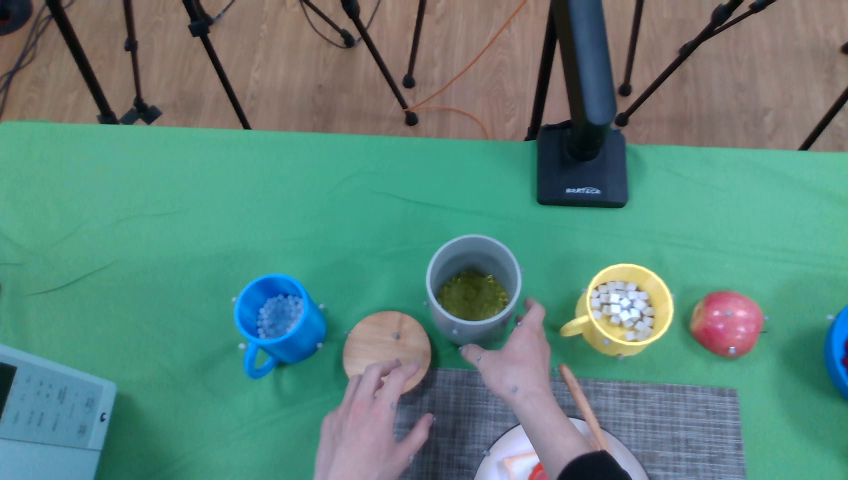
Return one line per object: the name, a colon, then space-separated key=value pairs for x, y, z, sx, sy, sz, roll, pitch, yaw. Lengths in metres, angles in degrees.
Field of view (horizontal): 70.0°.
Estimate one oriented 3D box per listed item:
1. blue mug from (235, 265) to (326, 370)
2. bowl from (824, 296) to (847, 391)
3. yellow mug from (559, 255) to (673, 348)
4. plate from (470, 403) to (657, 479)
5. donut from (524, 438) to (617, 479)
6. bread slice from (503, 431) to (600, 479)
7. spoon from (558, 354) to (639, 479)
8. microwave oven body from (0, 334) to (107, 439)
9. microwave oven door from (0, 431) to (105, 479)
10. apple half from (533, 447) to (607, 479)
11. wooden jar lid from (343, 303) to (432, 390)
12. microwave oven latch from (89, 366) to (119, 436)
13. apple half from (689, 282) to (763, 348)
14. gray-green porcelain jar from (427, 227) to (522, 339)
blue mug: x=-0.175 y=0.100 z=0.718 sx=0.082 sy=0.106 sz=0.116 roll=23 pitch=71 yaw=11
bowl: x=0.525 y=0.130 z=0.694 sx=0.151 sy=0.077 sz=0.150 roll=-1 pitch=69 yaw=3
yellow mug: x=0.225 y=0.081 z=0.732 sx=0.131 sy=0.064 sz=0.099 roll=-19 pitch=70 yaw=-4
plate: x=0.151 y=0.288 z=0.667 sx=0.207 sy=0.039 sz=0.206 roll=-1 pitch=69 yaw=2
donut: x=0.156 y=0.262 z=0.646 sx=0.099 sy=0.048 sz=0.098 roll=-1 pitch=69 yaw=2
bread slice: x=0.156 y=0.287 z=0.668 sx=0.107 sy=0.018 sz=0.133 roll=-13 pitch=69 yaw=-2
spoon: x=0.198 y=0.217 z=0.675 sx=0.041 sy=0.022 sz=0.193 roll=-21 pitch=78 yaw=-9
microwave oven body: x=-0.550 y=0.308 z=0.566 sx=0.326 sy=0.262 sz=0.438 roll=3 pitch=70 yaw=3
microwave oven door: x=-0.408 y=0.354 z=0.537 sx=0.039 sy=0.245 sz=0.353 roll=3 pitch=69 yaw=4
apple half: x=0.152 y=0.249 z=0.612 sx=0.081 sy=0.033 sz=0.080 roll=-4 pitch=64 yaw=8
wooden jar lid: x=-0.044 y=0.131 z=0.744 sx=0.108 sy=0.021 sz=0.107 roll=-1 pitch=66 yaw=3
microwave oven latch: x=-0.384 y=0.188 z=0.709 sx=0.030 sy=0.030 sz=0.078 roll=7 pitch=70 yaw=5
apple half: x=0.368 y=0.085 z=0.731 sx=0.074 sy=0.054 sz=0.080 roll=24 pitch=72 yaw=14
gray-green porcelain jar: x=0.058 y=0.057 z=0.715 sx=0.106 sy=0.127 sz=0.105 roll=-1 pitch=69 yaw=2
